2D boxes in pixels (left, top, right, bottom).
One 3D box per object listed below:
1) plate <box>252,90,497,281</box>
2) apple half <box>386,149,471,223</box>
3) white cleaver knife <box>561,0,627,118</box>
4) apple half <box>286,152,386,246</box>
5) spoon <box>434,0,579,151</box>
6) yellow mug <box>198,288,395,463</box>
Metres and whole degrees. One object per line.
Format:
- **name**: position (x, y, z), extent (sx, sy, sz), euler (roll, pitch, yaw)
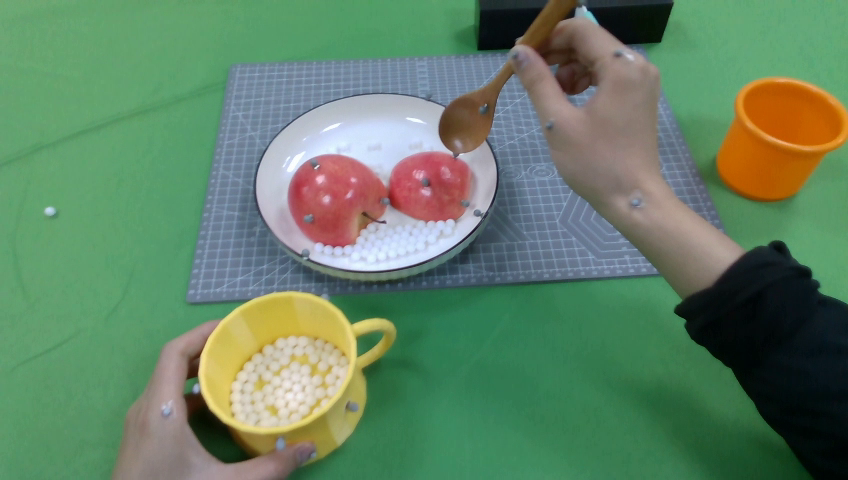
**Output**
- **plate**: position (-0.042, -0.048, 0.528), extent (0.209, 0.038, 0.207), euler (0, 54, 0)
- **apple half**: position (0.003, -0.055, 0.524), extent (0.081, 0.033, 0.080), euler (0, 57, 0)
- **white cleaver knife**: position (0.165, -0.220, 0.633), extent (0.021, 0.066, 0.283), euler (-6, 50, 3)
- **apple half**: position (-0.076, -0.043, 0.504), extent (0.074, 0.054, 0.080), euler (36, 62, 26)
- **spoon**: position (0.058, -0.118, 0.414), extent (0.041, 0.194, 0.021), euler (45, 58, -2)
- **yellow mug**: position (-0.080, 0.086, 0.416), extent (0.131, 0.064, 0.099), euler (-22, 57, -17)
